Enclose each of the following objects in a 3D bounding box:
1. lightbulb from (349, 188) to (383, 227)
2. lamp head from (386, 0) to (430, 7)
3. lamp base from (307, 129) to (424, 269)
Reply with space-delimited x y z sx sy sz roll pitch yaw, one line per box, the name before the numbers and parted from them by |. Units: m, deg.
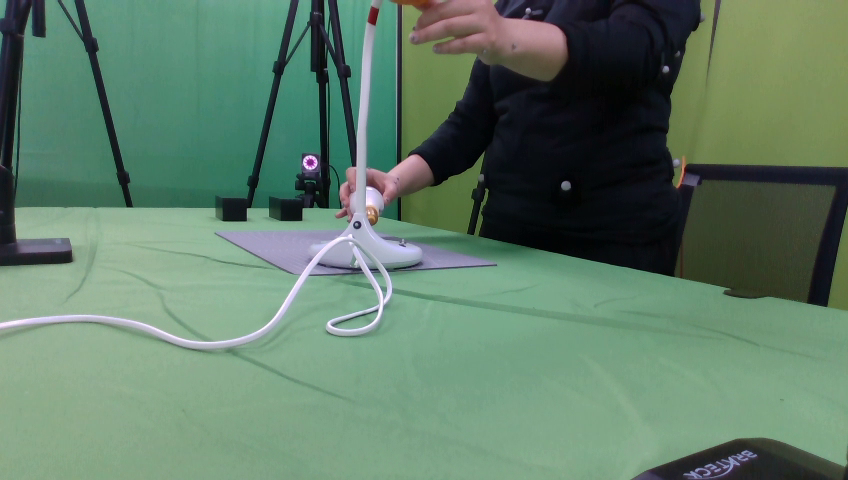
lightbulb | -0.095 -0.050 1.012 0.060 0.059 0.107 1 24 -12
lamp head | -0.021 -0.324 0.670 0.112 0.123 0.112 4 3 0
lamp base | -0.077 -0.057 0.811 0.161 0.180 0.179 2 10 -4
